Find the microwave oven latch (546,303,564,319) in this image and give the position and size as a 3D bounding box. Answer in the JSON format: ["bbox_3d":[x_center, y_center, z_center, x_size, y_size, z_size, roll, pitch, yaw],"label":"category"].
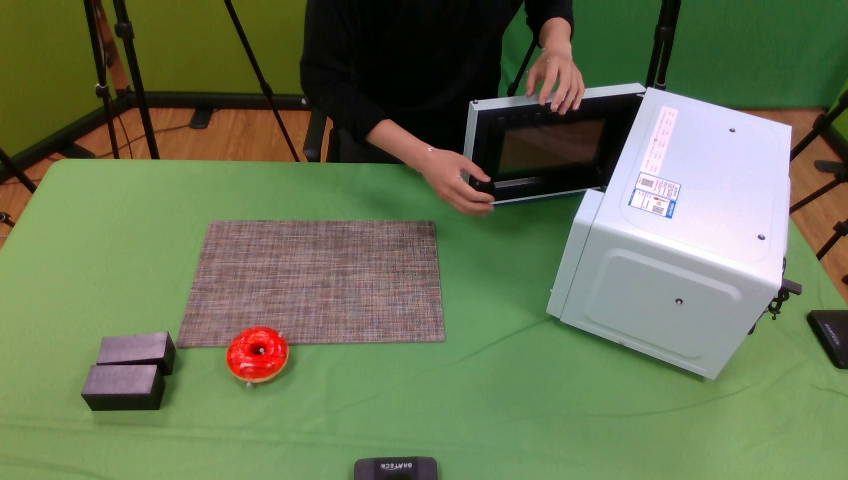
[{"bbox_3d":[0.242,0.102,1.081,0.030,0.029,0.079,22,48,17],"label":"microwave oven latch"}]

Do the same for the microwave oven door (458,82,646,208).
[{"bbox_3d":[0.251,-0.190,1.221,0.356,0.245,0.039,-9,47,-12],"label":"microwave oven door"}]

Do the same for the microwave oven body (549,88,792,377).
[{"bbox_3d":[0.456,-0.028,1.088,0.325,0.261,0.440,20,47,16],"label":"microwave oven body"}]

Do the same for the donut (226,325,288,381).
[{"bbox_3d":[-0.270,0.182,0.984,0.099,0.048,0.098,5,49,-5],"label":"donut"}]
